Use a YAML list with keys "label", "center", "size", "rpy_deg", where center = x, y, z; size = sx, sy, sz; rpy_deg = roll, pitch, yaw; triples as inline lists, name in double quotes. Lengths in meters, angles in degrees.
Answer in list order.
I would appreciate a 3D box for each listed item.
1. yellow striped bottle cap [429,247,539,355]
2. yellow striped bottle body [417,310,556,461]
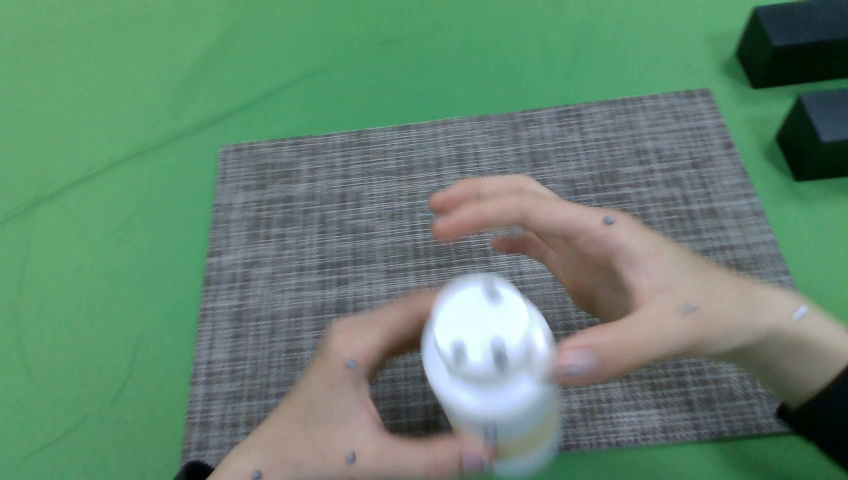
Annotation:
- label: "yellow striped bottle cap"
  center: [0.025, 0.025, 0.250]
  size: [0.044, 0.019, 0.044]
  rpy_deg: [-4, 48, 5]
- label: "yellow striped bottle body"
  center: [0.034, 0.067, 0.310]
  size: [0.063, 0.121, 0.062]
  rpy_deg: [-7, 55, 11]
